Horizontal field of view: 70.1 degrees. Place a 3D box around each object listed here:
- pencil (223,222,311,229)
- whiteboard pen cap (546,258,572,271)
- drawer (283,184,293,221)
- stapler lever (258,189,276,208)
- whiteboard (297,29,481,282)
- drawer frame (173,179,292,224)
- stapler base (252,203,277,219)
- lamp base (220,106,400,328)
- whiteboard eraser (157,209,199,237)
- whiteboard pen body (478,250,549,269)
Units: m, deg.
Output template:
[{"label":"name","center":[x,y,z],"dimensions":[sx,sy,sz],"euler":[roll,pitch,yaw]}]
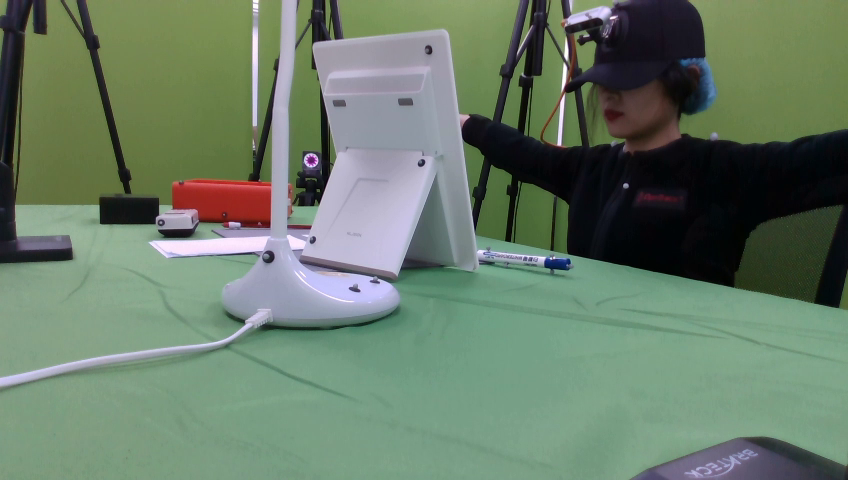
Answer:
[{"label":"pencil","center":[-0.274,-0.025,1.132],"dimensions":[0.195,0.012,0.012],"euler":[1,7,-25]},{"label":"whiteboard pen cap","center":[0.176,0.032,0.790],"dimensions":[0.033,0.018,0.018],"euler":[3,6,38]},{"label":"drawer","center":[-0.396,-0.084,1.301],"dimensions":[0.212,0.073,0.194],"euler":[1,8,-7]},{"label":"stapler lever","center":[-0.335,-0.090,1.300],"dimensions":[0.027,0.040,0.118],"euler":[15,4,-9]},{"label":"whiteboard","center":[-0.076,-0.082,0.741],"dimensions":[0.216,0.305,0.144],"euler":[9,29,37]},{"label":"drawer frame","center":[-0.400,-0.086,1.300],"dimensions":[0.214,0.082,0.201],"euler":[1,8,-8]},{"label":"stapler base","center":[-0.340,-0.065,1.301],"dimensions":[0.041,0.024,0.130],"euler":[15,5,-9]},{"label":"lamp base","center":[-0.101,-0.023,0.531],"dimensions":[0.160,0.180,0.179],"euler":[4,10,10]},{"label":"whiteboard eraser","center":[-0.411,-0.029,1.016],"dimensions":[0.056,0.042,0.112],"euler":[2,7,-16]},{"label":"whiteboard pen body","center":[0.130,0.027,0.827],"dimensions":[0.140,0.017,0.017],"euler":[6,8,38]}]
